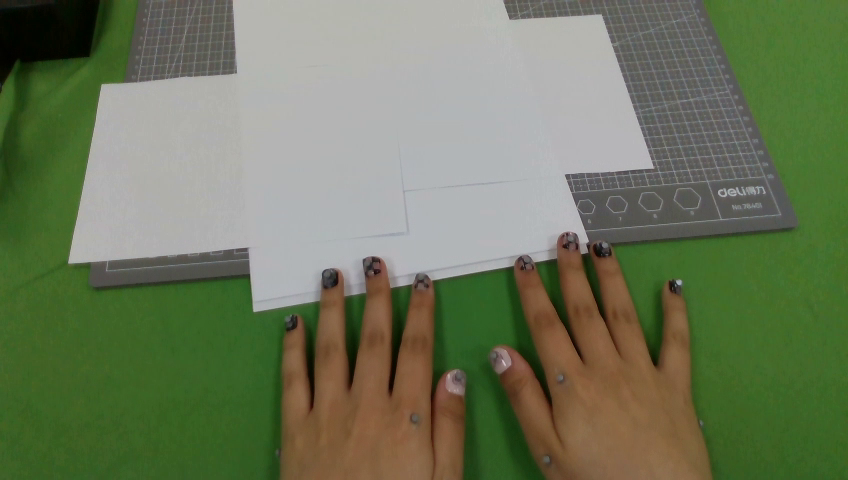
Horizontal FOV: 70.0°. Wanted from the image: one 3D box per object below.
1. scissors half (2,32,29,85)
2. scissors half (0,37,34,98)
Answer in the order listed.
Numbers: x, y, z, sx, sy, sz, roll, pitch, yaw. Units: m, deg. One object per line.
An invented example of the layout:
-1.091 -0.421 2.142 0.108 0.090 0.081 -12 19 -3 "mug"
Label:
-0.300 -0.105 0.406 0.013 0.040 0.173 -5 39 -3 "scissors half"
-0.299 -0.092 0.421 0.013 0.040 0.173 -8 52 1 "scissors half"
